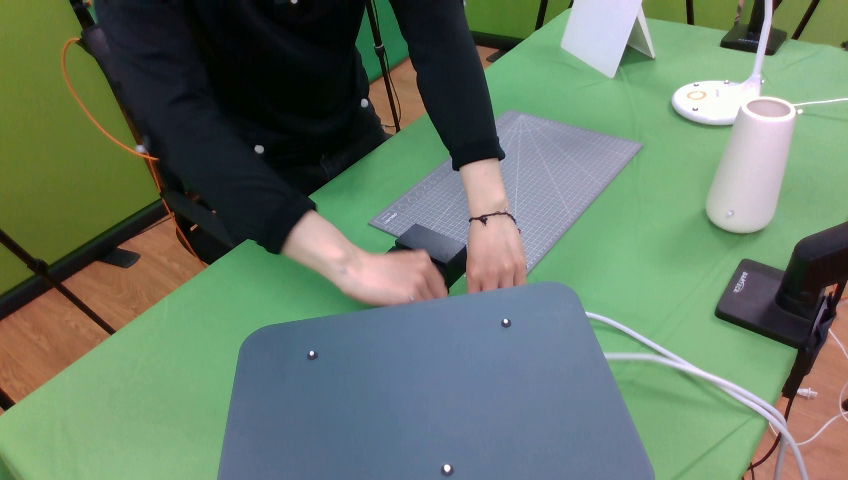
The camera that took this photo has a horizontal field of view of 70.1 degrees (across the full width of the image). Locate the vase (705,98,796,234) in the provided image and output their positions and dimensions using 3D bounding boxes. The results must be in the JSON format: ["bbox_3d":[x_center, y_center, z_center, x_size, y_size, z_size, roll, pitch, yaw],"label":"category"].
[{"bbox_3d":[0.480,-0.103,0.889,0.098,0.201,0.097,-4,42,4],"label":"vase"}]

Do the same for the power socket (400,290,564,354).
[{"bbox_3d":[0.079,0.111,0.823,0.227,0.033,0.072,-6,41,1],"label":"power socket"}]

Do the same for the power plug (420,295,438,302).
[{"bbox_3d":[0.006,0.101,0.765,0.035,0.053,0.072,0,43,13],"label":"power plug"}]

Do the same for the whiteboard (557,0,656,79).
[{"bbox_3d":[0.462,-0.542,1.367,0.145,0.306,0.215,-3,36,-25],"label":"whiteboard"}]

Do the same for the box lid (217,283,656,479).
[{"bbox_3d":[-0.004,0.155,0.568,0.372,0.015,0.261,-8,39,-2],"label":"box lid"}]

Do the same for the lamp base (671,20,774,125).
[{"bbox_3d":[0.581,-0.332,1.154,0.179,0.181,0.160,2,41,7],"label":"lamp base"}]

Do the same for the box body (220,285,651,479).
[{"bbox_3d":[0.005,0.211,0.616,0.364,0.161,0.252,-9,40,-2],"label":"box body"}]
